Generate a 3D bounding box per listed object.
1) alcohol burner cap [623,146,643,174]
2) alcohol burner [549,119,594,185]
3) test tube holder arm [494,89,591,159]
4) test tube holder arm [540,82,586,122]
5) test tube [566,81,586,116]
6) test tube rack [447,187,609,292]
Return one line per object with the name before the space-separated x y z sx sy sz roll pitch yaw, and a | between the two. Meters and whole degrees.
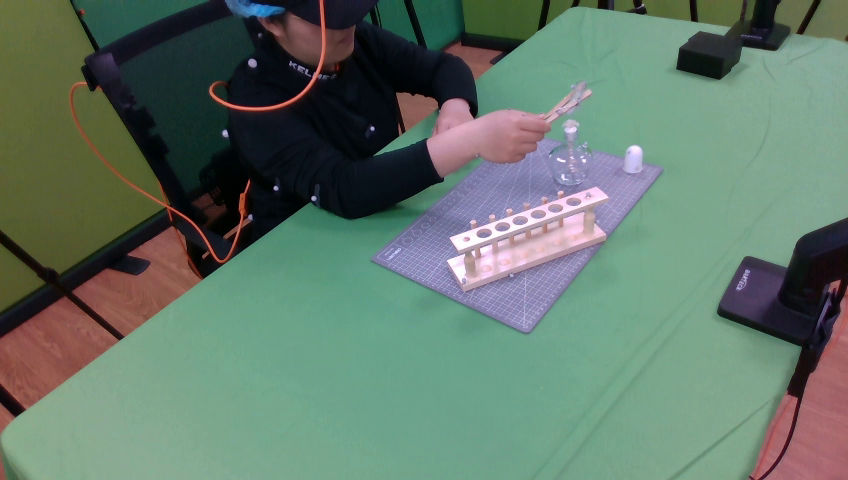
alcohol burner cap | 0.369 -0.142 1.062 0.034 0.048 0.033 -7 40 6
alcohol burner | 0.254 -0.155 1.043 0.078 0.120 0.077 -7 40 6
test tube holder arm | 0.189 -0.184 0.967 0.178 0.015 0.013 -36 81 12
test tube holder arm | 0.220 -0.215 0.959 0.087 0.015 0.010 -43 80 11
test tube | 0.243 -0.225 0.972 0.017 0.017 0.150 -4 -4 7
test tube rack | 0.155 -0.011 0.913 0.243 0.085 0.066 -19 41 -11
